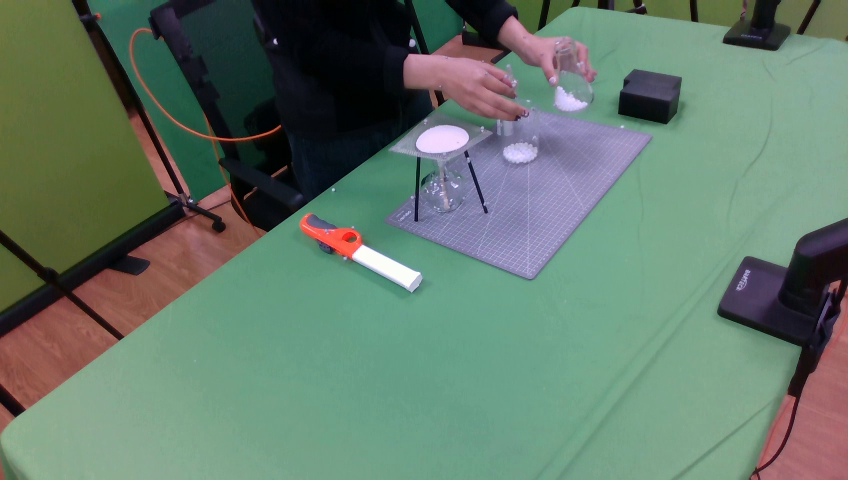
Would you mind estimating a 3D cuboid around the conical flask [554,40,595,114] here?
[{"bbox_3d":[0.263,-0.295,1.087,0.075,0.122,0.075,-12,43,12],"label":"conical flask"}]

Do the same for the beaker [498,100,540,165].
[{"bbox_3d":[0.180,-0.196,1.117,0.074,0.101,0.083,-25,43,-17],"label":"beaker"}]

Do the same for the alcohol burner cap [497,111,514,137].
[{"bbox_3d":[0.163,-0.234,1.211,0.034,0.048,0.033,-8,40,7],"label":"alcohol burner cap"}]

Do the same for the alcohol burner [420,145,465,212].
[{"bbox_3d":[0.030,-0.108,1.030,0.078,0.119,0.077,-5,38,4],"label":"alcohol burner"}]

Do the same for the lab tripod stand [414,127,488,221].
[{"bbox_3d":[0.035,-0.114,1.021,0.148,0.132,0.147,-7,39,6],"label":"lab tripod stand"}]

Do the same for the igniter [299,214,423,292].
[{"bbox_3d":[-0.112,0.016,0.983,0.274,0.025,0.057,26,62,35],"label":"igniter"}]

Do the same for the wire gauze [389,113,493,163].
[{"bbox_3d":[0.026,-0.164,0.977,0.120,0.011,0.125,23,49,35],"label":"wire gauze"}]

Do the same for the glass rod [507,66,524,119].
[{"bbox_3d":[0.157,-0.248,1.035,0.008,0.201,0.008,-3,78,15],"label":"glass rod"}]
